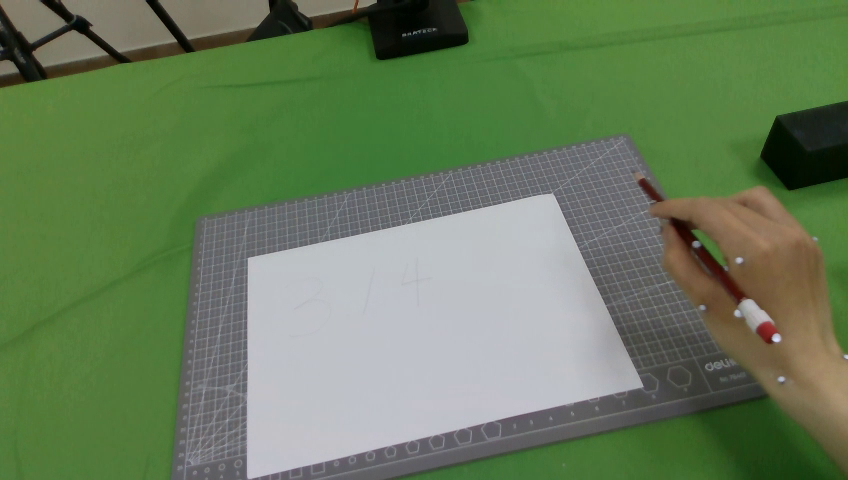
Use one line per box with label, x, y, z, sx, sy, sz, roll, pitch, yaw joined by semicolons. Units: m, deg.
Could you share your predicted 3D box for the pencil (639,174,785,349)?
pencil;0.186;0.003;0.413;0.012;0.012;0.192;-11;37;-1
